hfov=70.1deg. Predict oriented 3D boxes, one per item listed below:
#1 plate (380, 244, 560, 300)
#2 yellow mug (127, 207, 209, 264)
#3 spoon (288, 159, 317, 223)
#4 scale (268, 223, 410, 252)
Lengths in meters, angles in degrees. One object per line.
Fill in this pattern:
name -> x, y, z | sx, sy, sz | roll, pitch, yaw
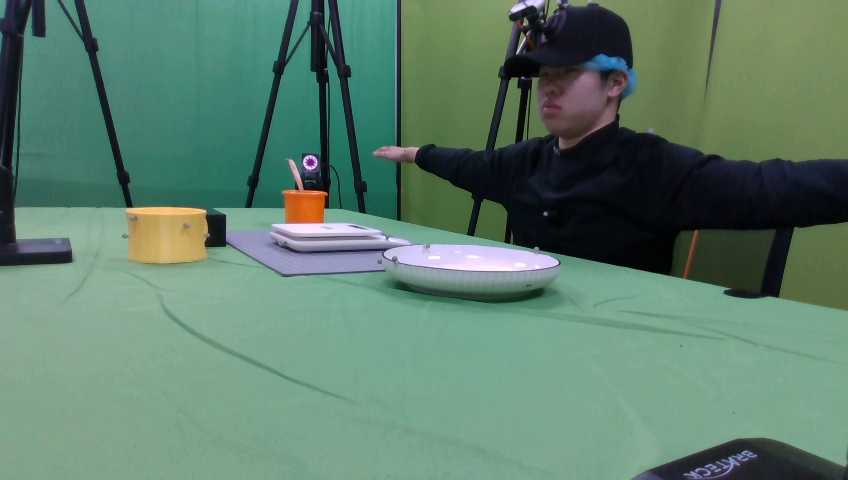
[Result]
plate -> 0.053, 0.036, 0.708 | 0.209, 0.038, 0.209 | 2, 7, 0
yellow mug -> -0.339, -0.009, 0.827 | 0.100, 0.064, 0.131 | 5, 7, 17
spoon -> -0.259, -0.103, 1.268 | 0.042, 0.193, 0.021 | 3, -39, -33
scale -> -0.138, -0.006, 0.980 | 0.202, 0.031, 0.148 | -1, 8, -30
